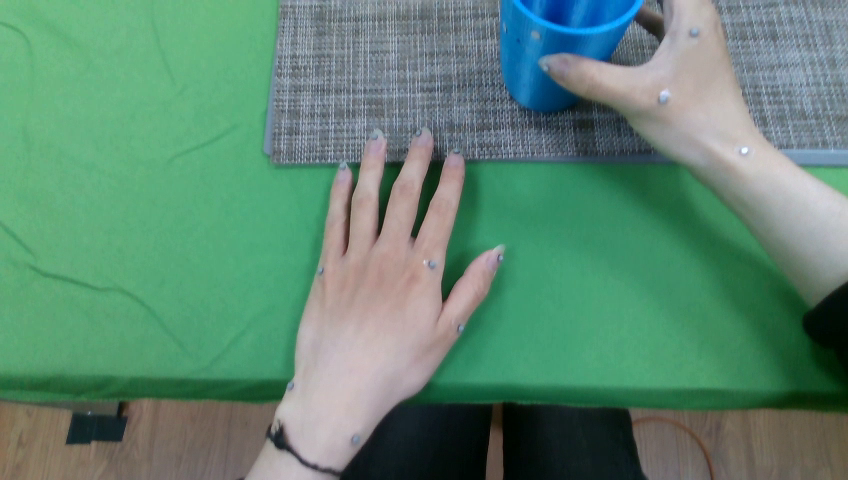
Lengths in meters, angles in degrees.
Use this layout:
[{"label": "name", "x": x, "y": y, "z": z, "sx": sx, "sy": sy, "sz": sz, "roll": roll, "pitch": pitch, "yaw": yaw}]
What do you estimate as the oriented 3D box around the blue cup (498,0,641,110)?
[{"label": "blue cup", "x": 0.087, "y": -0.137, "z": 0.397, "sx": 0.092, "sy": 0.101, "sz": 0.092, "roll": 0, "pitch": 70, "yaw": 0}]
